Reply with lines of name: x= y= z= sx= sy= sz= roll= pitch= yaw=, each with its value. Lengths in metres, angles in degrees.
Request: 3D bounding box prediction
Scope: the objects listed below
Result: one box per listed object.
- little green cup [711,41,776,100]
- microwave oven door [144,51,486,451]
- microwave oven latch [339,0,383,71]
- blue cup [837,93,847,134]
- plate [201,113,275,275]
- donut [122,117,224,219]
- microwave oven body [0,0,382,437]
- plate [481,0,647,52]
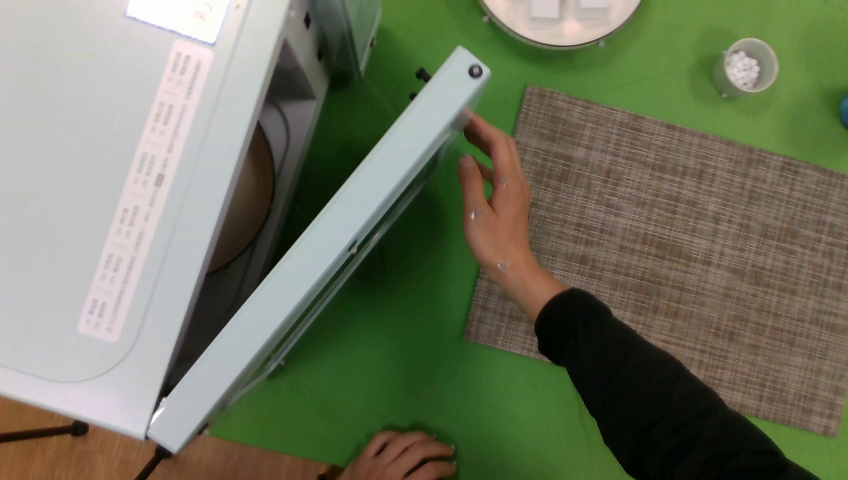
little green cup: x=0.362 y=-0.191 z=0.692 sx=0.061 sy=0.038 sz=0.061 roll=0 pitch=87 yaw=-3
microwave oven door: x=-0.081 y=0.008 z=0.543 sx=0.039 sy=0.244 sz=0.355 roll=39 pitch=87 yaw=0
microwave oven latch: x=-0.068 y=-0.225 z=0.651 sx=0.030 sy=0.029 sz=0.079 roll=22 pitch=88 yaw=-3
blue cup: x=0.519 y=-0.150 z=0.669 sx=0.093 sy=0.100 sz=0.092 roll=0 pitch=90 yaw=-3
plate: x=-0.250 y=-0.063 z=0.593 sx=0.209 sy=0.038 sz=0.209 roll=0 pitch=88 yaw=-4
donut: x=-0.242 y=-0.069 z=0.585 sx=0.099 sy=0.048 sz=0.099 roll=1 pitch=95 yaw=9
microwave oven body: x=-0.260 y=-0.108 z=0.541 sx=0.326 sy=0.260 sz=0.441 roll=19 pitch=88 yaw=-3
plate: x=0.154 y=-0.312 z=0.684 sx=0.208 sy=0.039 sz=0.207 roll=0 pitch=88 yaw=-3
